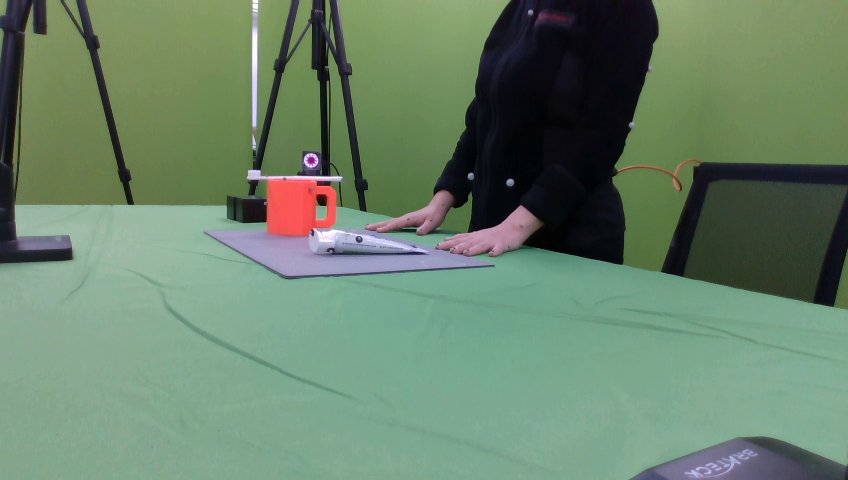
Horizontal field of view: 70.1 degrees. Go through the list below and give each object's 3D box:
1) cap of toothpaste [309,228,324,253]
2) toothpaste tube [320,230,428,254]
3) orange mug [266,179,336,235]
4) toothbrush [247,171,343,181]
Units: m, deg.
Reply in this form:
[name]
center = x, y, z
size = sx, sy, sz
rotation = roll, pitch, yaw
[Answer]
[cap of toothpaste]
center = -0.153, 0.001, 0.857
size = 0.011, 0.037, 0.037
rotation = -5, 10, -36
[toothpaste tube]
center = -0.078, 0.006, 0.891
size = 0.166, 0.034, 0.055
rotation = 4, 11, -26
[orange mug]
center = -0.222, -0.062, 1.094
size = 0.127, 0.101, 0.083
rotation = -5, 10, -22
[toothbrush]
center = -0.230, -0.115, 1.092
size = 0.183, 0.016, 0.014
rotation = -2, 5, -35
